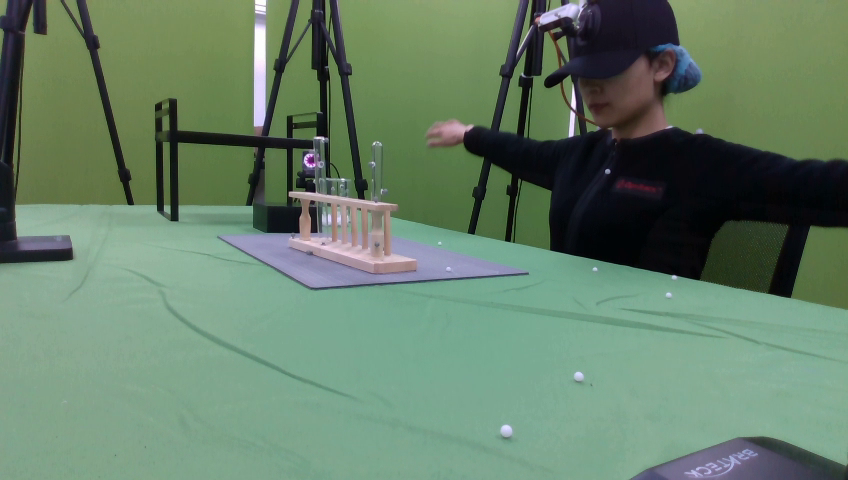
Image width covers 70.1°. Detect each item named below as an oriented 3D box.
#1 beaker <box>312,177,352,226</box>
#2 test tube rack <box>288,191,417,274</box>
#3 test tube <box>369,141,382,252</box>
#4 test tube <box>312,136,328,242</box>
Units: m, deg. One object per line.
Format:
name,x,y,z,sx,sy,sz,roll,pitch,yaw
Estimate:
beaker,-0.194,-0.081,1.266,0.084,0.100,0.073,-3,9,-29
test tube rack,-0.106,-0.017,0.835,0.067,0.085,0.241,-3,10,-37
test tube,-0.065,-0.056,0.808,0.017,0.150,0.017,1,8,0
test tube,-0.146,-0.070,0.850,0.017,0.150,0.017,-1,11,0
